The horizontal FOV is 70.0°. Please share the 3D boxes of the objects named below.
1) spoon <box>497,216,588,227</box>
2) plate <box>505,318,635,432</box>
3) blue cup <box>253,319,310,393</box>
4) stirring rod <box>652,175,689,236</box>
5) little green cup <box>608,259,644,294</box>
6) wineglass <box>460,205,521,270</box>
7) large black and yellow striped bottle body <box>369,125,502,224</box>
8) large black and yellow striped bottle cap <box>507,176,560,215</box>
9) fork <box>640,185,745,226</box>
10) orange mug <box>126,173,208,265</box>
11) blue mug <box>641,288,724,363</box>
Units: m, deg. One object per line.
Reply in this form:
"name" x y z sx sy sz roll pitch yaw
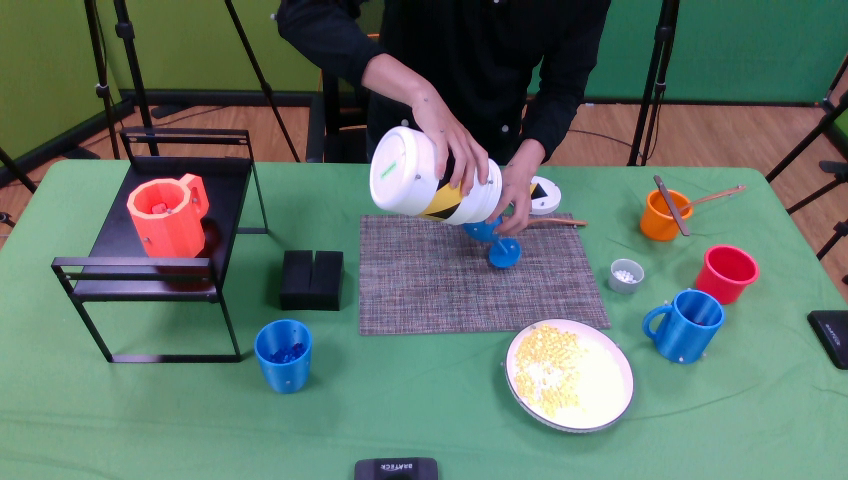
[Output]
"spoon" 0.246 -0.039 1.247 0.194 0.022 0.041 -2 24 -6
"plate" 0.235 0.221 0.991 0.209 0.038 0.208 2 45 -2
"blue cup" -0.217 0.187 0.943 0.093 0.101 0.092 4 45 -3
"stirring rod" 0.492 -0.072 1.211 0.014 0.006 0.175 0 46 -7
"little green cup" 0.379 0.070 1.147 0.061 0.039 0.061 3 45 -3
"wineglass" 0.119 -0.017 1.097 0.073 0.173 0.073 -14 56 21
"large black and yellow striped bottle body" 0.020 -0.097 0.959 0.185 0.131 0.130 10 40 -32
"large black and yellow striped bottle cap" 0.237 -0.098 1.312 0.115 0.019 0.114 2 43 -1
"fork" 0.534 -0.069 1.215 0.207 0.019 0.028 -26 28 33
"orange mug" -0.371 -0.039 0.902 0.083 0.101 0.126 18 51 13
"blue mug" 0.432 0.144 1.033 0.116 0.106 0.082 9 46 5
